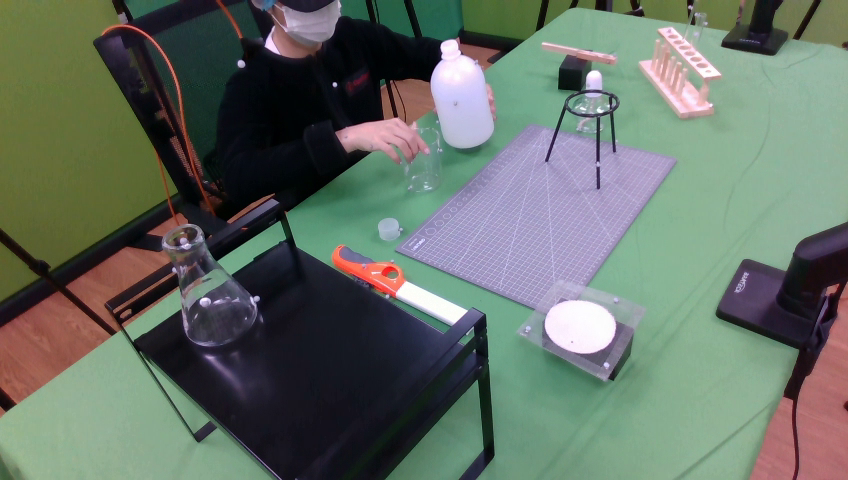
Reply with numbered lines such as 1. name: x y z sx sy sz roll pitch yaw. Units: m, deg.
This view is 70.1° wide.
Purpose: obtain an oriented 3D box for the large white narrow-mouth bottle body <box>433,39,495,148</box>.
1. large white narrow-mouth bottle body: 0.070 -0.277 1.129 0.101 0.196 0.101 -10 39 9

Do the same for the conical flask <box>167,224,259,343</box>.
1. conical flask: -0.220 0.041 0.613 0.075 0.122 0.075 -5 40 4

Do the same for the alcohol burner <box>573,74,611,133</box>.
1. alcohol burner: 0.330 -0.270 1.176 0.078 0.119 0.077 -4 43 4

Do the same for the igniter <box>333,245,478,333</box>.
1. igniter: -0.038 0.068 0.905 0.274 0.025 0.057 24 60 32

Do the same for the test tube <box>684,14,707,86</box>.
1. test tube: 0.541 -0.379 1.216 0.017 0.151 0.017 -2 44 2

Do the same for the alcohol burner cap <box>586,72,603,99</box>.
1. alcohol burner cap: 0.325 -0.297 1.154 0.034 0.048 0.033 -8 35 6

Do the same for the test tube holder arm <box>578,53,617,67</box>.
1. test tube holder arm: 0.376 -0.393 1.314 0.087 0.015 0.010 26 51 32

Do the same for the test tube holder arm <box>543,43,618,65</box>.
1. test tube holder arm: 0.345 -0.413 1.340 0.177 0.015 0.013 25 50 31

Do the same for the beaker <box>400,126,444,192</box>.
1. beaker: -0.001 -0.146 1.096 0.074 0.101 0.083 -1 40 8

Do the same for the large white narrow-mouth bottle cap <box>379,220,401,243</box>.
1. large white narrow-mouth bottle cap: -0.057 -0.015 1.012 0.038 0.024 0.037 -4 40 4

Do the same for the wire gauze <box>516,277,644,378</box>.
1. wire gauze: 0.197 0.103 0.765 0.124 0.011 0.122 23 50 32

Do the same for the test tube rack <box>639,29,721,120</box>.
1. test tube rack: 0.527 -0.351 1.262 0.067 0.085 0.241 -8 40 1

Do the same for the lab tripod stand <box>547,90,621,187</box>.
1. lab tripod stand: 0.289 -0.184 1.062 0.148 0.132 0.147 -6 41 6

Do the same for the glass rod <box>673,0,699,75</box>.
1. glass rod: 0.541 -0.427 1.246 0.008 0.200 0.008 0 48 1
